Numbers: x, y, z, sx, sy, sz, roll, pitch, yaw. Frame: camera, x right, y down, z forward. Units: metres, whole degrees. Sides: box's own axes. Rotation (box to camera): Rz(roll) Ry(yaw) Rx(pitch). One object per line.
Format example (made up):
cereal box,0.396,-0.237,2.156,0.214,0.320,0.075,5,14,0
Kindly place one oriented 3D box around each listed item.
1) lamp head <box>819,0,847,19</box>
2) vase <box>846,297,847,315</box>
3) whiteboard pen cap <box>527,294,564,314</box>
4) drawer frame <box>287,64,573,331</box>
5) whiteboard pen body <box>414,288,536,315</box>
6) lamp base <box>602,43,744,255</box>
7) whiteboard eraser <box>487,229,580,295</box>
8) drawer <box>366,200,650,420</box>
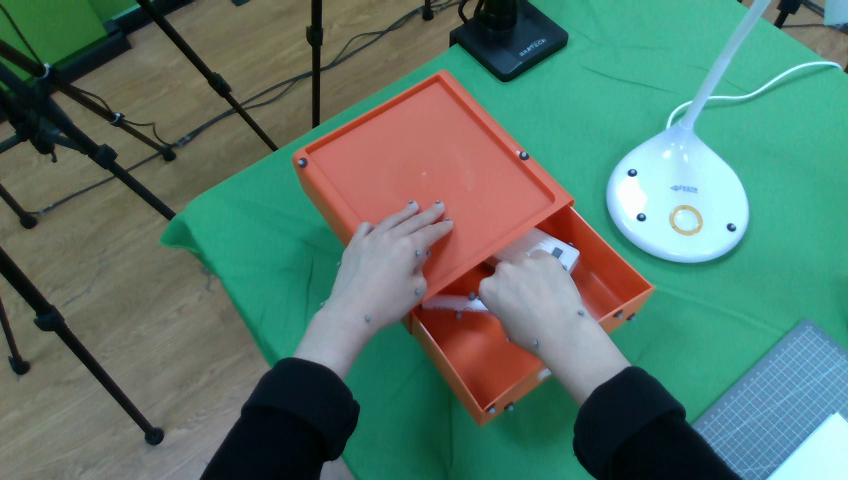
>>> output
lamp head,0.303,-0.203,0.369,0.112,0.112,0.123,-11,100,-5
vase,0.484,0.038,0.554,0.098,0.201,0.097,-1,60,2
whiteboard pen cap,0.114,0.059,0.565,0.033,0.018,0.018,1,60,16
drawer frame,0.003,-0.049,0.625,0.201,0.083,0.212,-34,68,-15
whiteboard pen body,0.057,0.059,0.581,0.140,0.017,0.017,5,61,15
lamp base,0.285,-0.101,0.643,0.161,0.182,0.177,-4,59,-1
whiteboard eraser,0.102,0.018,0.629,0.111,0.042,0.055,19,68,42
drawer,0.068,0.030,0.585,0.194,0.074,0.210,-32,65,-14
